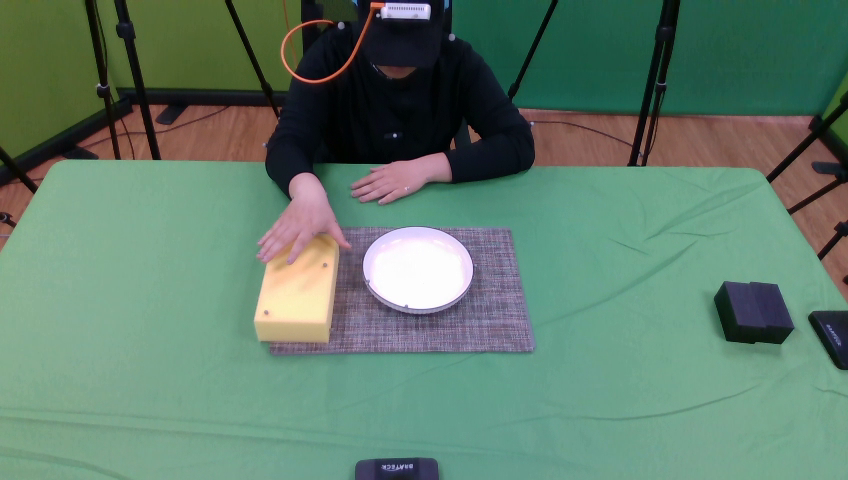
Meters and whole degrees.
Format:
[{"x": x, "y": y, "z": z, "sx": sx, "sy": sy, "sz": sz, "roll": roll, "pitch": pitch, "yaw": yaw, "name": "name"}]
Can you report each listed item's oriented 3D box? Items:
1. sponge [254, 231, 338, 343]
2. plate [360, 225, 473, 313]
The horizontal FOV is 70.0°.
[{"x": -0.221, "y": 0.079, "z": 1.073, "sx": 0.118, "sy": 0.061, "sz": 0.205, "roll": 1, "pitch": 46, "yaw": -3, "name": "sponge"}, {"x": -0.014, "y": 0.057, "z": 1.127, "sx": 0.208, "sy": 0.039, "sz": 0.206, "roll": 2, "pitch": 46, "yaw": -2, "name": "plate"}]
